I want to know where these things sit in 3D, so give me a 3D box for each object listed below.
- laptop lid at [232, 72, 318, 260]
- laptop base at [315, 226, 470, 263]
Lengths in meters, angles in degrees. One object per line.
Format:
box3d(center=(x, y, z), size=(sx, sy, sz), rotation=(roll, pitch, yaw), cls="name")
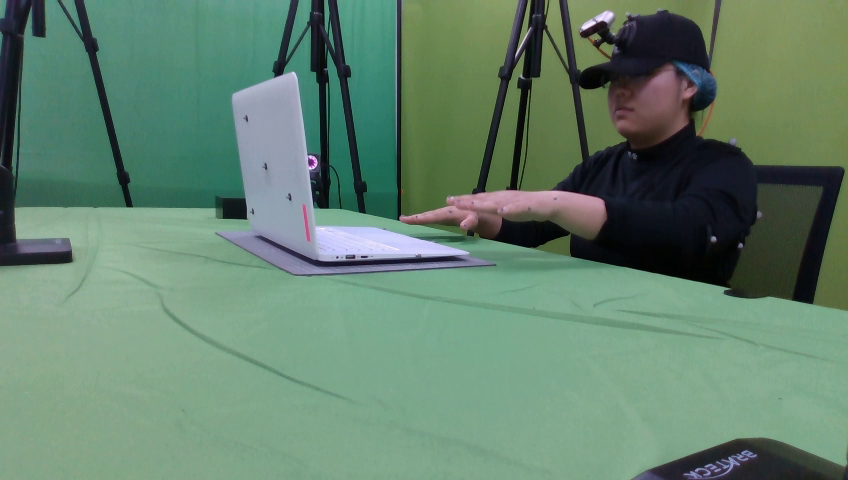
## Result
box3d(center=(-0.229, -0.109, 0.888), size=(0.013, 0.241, 0.355), rotation=(-10, 14, -28), cls="laptop lid")
box3d(center=(-0.117, 0.005, 0.970), size=(0.237, 0.023, 0.352), rotation=(2, 6, -30), cls="laptop base")
